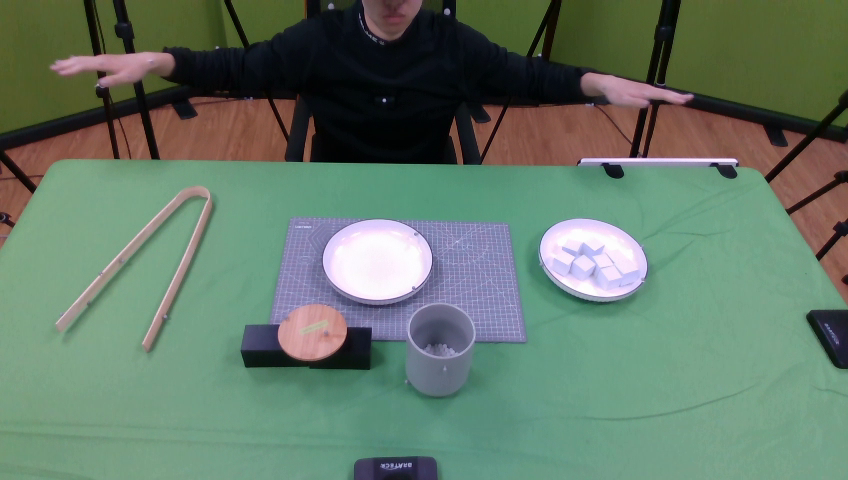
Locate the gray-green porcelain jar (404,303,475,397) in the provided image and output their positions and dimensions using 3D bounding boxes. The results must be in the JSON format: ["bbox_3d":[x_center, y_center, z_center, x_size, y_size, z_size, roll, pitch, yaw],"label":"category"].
[{"bbox_3d":[0.022,0.178,0.956,0.106,0.127,0.105,2,46,-2],"label":"gray-green porcelain jar"}]

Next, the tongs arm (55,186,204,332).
[{"bbox_3d":[-0.530,0.022,1.126,0.051,0.026,0.383,14,46,8],"label":"tongs arm"}]

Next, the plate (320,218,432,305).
[{"bbox_3d":[-0.089,0.044,1.134,0.209,0.038,0.208,3,46,-2],"label":"plate"}]

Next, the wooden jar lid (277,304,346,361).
[{"bbox_3d":[-0.179,0.150,0.972,0.108,0.021,0.107,2,45,-2],"label":"wooden jar lid"}]

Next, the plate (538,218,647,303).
[{"bbox_3d":[0.322,0.042,1.171,0.208,0.039,0.206,2,46,-2],"label":"plate"}]

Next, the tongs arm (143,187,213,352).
[{"bbox_3d":[-0.450,0.039,1.122,0.028,0.028,0.385,2,46,1],"label":"tongs arm"}]
